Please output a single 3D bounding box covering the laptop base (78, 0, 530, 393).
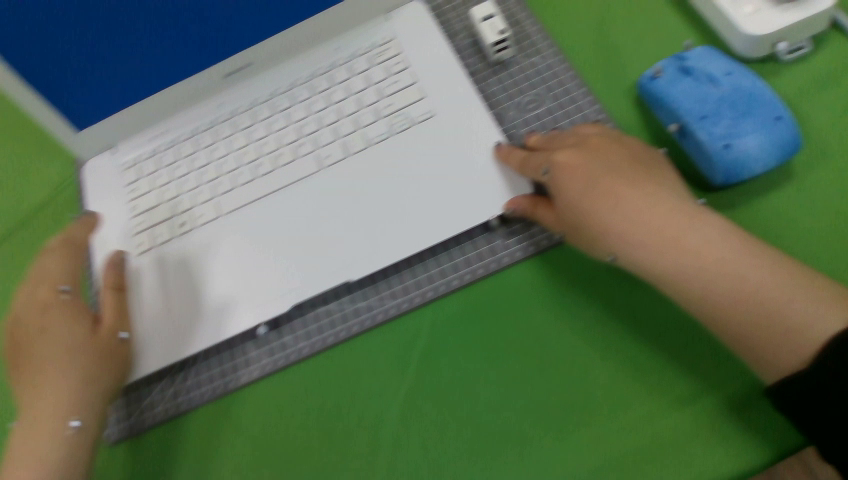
[{"bbox_3d":[-0.118,-0.049,0.501,0.354,0.023,0.233,-25,64,3],"label":"laptop base"}]

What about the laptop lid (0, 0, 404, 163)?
[{"bbox_3d":[-0.197,-0.212,0.471,0.357,0.244,0.013,-26,47,4],"label":"laptop lid"}]

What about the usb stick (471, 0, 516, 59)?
[{"bbox_3d":[0.056,-0.182,0.507,0.021,0.027,0.058,-24,58,8],"label":"usb stick"}]

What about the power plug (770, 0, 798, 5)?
[{"bbox_3d":[0.277,-0.193,0.423,0.072,0.053,0.035,-13,64,9],"label":"power plug"}]

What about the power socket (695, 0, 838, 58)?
[{"bbox_3d":[0.234,-0.233,0.479,0.072,0.033,0.224,-23,61,6],"label":"power socket"}]

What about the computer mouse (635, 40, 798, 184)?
[{"bbox_3d":[0.199,-0.095,0.419,0.063,0.041,0.116,-25,56,6],"label":"computer mouse"}]
